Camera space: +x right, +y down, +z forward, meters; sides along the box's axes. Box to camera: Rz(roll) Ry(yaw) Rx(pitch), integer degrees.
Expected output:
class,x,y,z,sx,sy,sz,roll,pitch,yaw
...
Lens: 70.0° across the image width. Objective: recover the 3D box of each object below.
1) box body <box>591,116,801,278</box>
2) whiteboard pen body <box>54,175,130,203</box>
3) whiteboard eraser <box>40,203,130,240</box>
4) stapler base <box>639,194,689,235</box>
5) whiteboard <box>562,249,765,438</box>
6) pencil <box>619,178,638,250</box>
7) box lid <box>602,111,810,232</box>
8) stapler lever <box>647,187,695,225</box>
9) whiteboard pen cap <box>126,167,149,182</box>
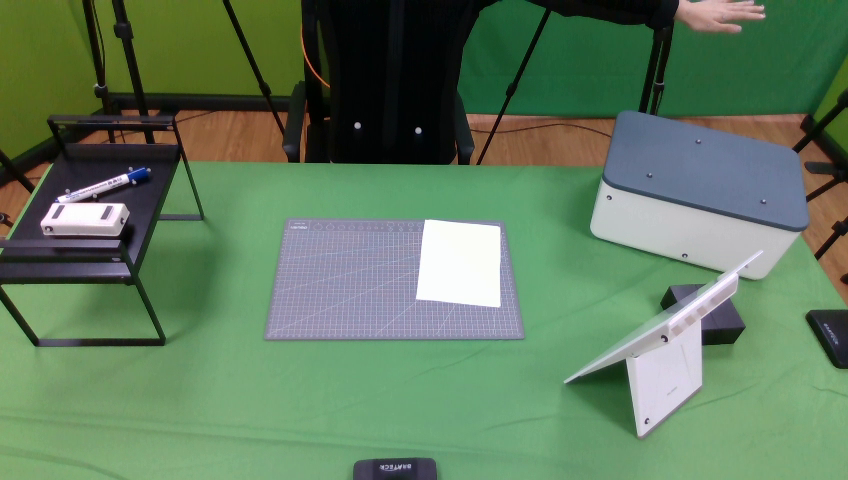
class,x,y,z,sx,sy,sz,roll,pitch,yaw
box body,0.540,-0.092,1.230,0.363,0.161,0.253,16,47,11
whiteboard pen body,-0.530,-0.085,0.994,0.141,0.017,0.017,-26,54,-26
whiteboard eraser,-0.513,-0.028,0.922,0.113,0.042,0.055,1,48,-3
stapler base,0.510,-0.060,1.278,0.041,0.024,0.129,2,38,-32
whiteboard,0.386,0.175,0.905,0.217,0.306,0.143,-26,72,-26
pencil,0.431,-0.060,1.285,0.012,0.012,0.193,2,55,-2
box lid,0.545,-0.143,1.176,0.371,0.015,0.262,15,47,11
stapler lever,0.516,-0.078,1.266,0.027,0.040,0.117,2,40,-32
whiteboard pen cap,-0.482,-0.110,1.019,0.033,0.018,0.018,-28,55,-27
